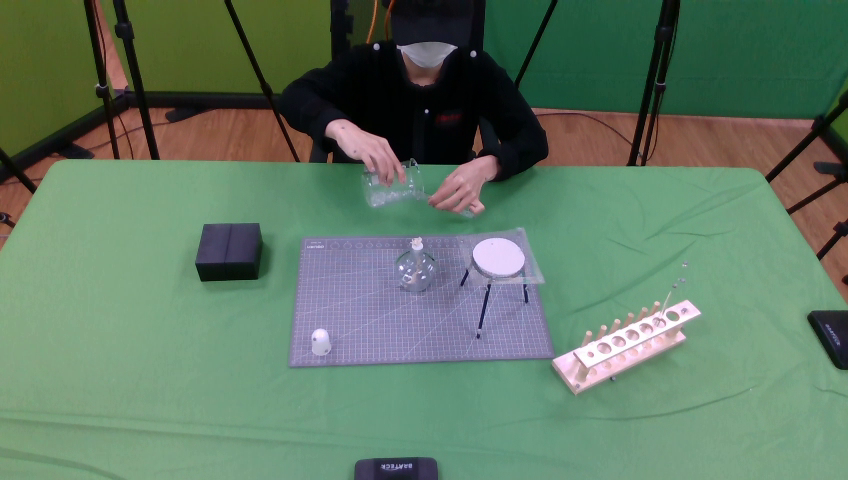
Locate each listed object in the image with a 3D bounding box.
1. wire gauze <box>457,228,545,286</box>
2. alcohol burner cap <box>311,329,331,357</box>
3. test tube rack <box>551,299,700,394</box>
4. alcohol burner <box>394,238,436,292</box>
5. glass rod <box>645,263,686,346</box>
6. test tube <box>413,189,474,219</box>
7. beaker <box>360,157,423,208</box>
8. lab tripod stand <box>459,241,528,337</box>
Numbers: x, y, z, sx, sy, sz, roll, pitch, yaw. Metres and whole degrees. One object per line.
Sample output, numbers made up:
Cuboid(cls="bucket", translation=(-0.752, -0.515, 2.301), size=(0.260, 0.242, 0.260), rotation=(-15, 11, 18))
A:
Cuboid(cls="wire gauze", translation=(0.126, 0.029, 1.006), size=(0.125, 0.011, 0.120), rotation=(-4, 46, -10))
Cuboid(cls="alcohol burner cap", translation=(-0.173, 0.168, 1.004), size=(0.034, 0.048, 0.033), rotation=(2, 46, -2))
Cuboid(cls="test tube rack", translation=(0.339, 0.166, 1.021), size=(0.242, 0.085, 0.066), rotation=(-19, 50, -21))
Cuboid(cls="alcohol burner", translation=(-0.016, 0.038, 1.093), size=(0.078, 0.119, 0.077), rotation=(2, 48, -2))
Cuboid(cls="glass rod", translation=(0.392, 0.110, 0.986), size=(0.008, 0.201, 0.008), rotation=(2, 42, -1))
Cuboid(cls="test tube", translation=(0.041, -0.069, 1.189), size=(0.151, 0.017, 0.017), rotation=(20, 35, -35))
Cuboid(cls="beaker", translation=(-0.061, -0.100, 1.108), size=(0.100, 0.084, 0.073), rotation=(-16, 47, -13))
Cuboid(cls="lab tripod stand", translation=(0.122, 0.075, 1.054), size=(0.148, 0.132, 0.147), rotation=(3, 44, -3))
